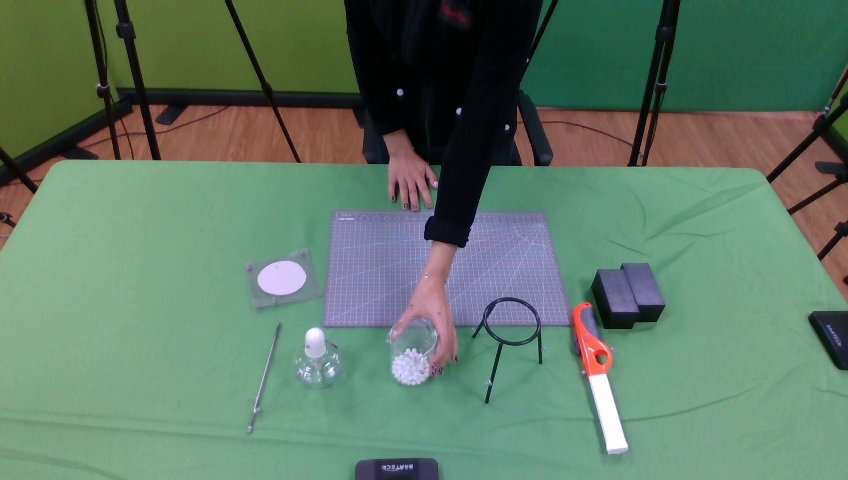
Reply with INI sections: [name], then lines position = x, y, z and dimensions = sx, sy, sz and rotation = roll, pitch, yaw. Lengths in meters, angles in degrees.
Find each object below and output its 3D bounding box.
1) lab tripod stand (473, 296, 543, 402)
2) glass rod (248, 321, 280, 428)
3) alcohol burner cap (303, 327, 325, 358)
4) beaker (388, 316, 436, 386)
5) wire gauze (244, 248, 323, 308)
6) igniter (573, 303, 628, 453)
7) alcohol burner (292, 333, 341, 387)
[lab tripod stand]
position = 0.132, 0.168, 0.969
dimensions = 0.148, 0.132, 0.147
rotation = 3, 48, -3
[glass rod]
position = -0.258, 0.213, 0.984
dimensions = 0.008, 0.008, 0.198
rotation = 4, 46, 0
[alcohol burner cap]
position = -0.169, 0.154, 0.925
dimensions = 0.034, 0.048, 0.033
rotation = 4, 41, -3
[beaker]
position = -0.019, 0.183, 0.968
dimensions = 0.074, 0.101, 0.083
rotation = -7, 48, -10
[wire gauze]
position = -0.262, 0.071, 1.121
dimensions = 0.125, 0.011, 0.120
rotation = -11, 48, -17
[igniter]
position = 0.288, 0.217, 1.006
dimensions = 0.057, 0.025, 0.274
rotation = -9, 46, 8
[alcohol burner]
position = -0.170, 0.179, 0.950
dimensions = 0.078, 0.120, 0.077
rotation = 2, 48, -2
